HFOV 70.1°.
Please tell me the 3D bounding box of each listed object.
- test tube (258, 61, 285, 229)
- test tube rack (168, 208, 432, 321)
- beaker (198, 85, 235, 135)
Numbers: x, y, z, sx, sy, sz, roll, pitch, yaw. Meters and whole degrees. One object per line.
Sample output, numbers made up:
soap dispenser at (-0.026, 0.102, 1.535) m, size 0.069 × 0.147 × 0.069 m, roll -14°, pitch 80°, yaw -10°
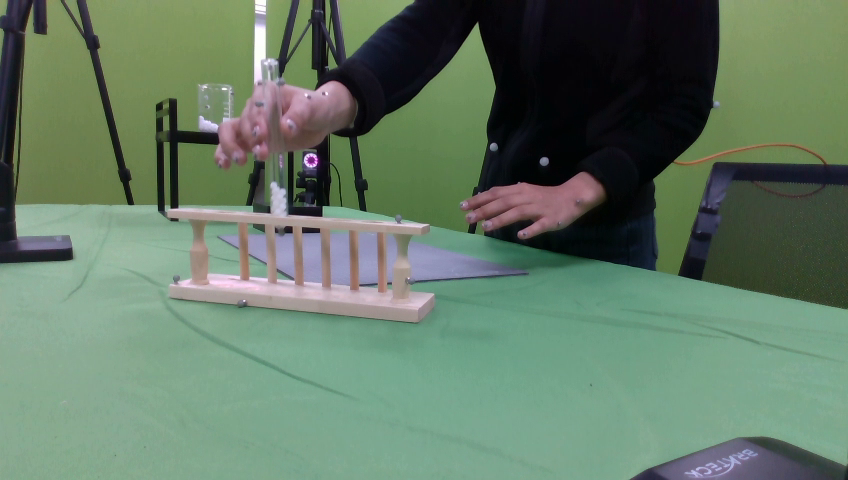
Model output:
test tube at (-0.138, -0.085, 0.548) m, size 0.017 × 0.150 × 0.017 m, roll -3°, pitch 5°, yaw 1°
test tube rack at (-0.116, 0.018, 0.574) m, size 0.242 × 0.085 × 0.067 m, roll 4°, pitch 7°, yaw 13°
beaker at (-0.439, -0.273, 1.275) m, size 0.074 × 0.100 × 0.084 m, roll 5°, pitch 8°, yaw 19°
